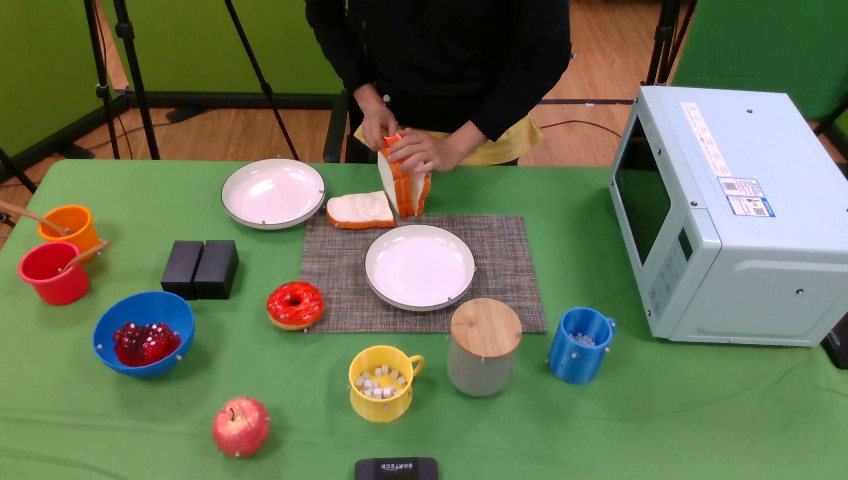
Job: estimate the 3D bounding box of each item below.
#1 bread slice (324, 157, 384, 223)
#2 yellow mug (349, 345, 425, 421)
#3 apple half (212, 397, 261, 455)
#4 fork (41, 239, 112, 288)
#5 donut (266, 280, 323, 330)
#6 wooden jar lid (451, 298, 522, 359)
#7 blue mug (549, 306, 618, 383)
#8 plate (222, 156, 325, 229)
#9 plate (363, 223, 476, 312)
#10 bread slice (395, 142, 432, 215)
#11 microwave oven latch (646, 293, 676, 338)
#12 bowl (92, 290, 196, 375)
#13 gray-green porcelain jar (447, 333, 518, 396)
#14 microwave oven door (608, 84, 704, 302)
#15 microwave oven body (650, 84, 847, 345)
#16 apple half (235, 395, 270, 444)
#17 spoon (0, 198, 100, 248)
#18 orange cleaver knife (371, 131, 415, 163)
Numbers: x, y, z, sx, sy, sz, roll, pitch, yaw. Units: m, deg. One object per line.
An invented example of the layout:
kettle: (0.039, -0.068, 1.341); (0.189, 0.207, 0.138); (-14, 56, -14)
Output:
bread slice: (-0.144, -0.096, 1.206); (0.134, 0.018, 0.106); (-33, 49, 20)
yellow mug: (-0.054, 0.217, 0.954); (0.131, 0.064, 0.099); (-24, 52, -25)
apple half: (-0.276, 0.276, 0.877); (0.053, 0.075, 0.080); (-29, 58, -21)
fork: (-0.591, 0.040, 1.028); (0.207, 0.019, 0.028); (-27, 36, 29)
donut: (-0.223, 0.113, 1.051); (0.099, 0.048, 0.098); (2, 45, -2)
wooden jar lid: (0.093, 0.135, 0.914); (0.108, 0.021, 0.107); (3, 48, -3)
blue mug: (0.269, 0.167, 0.997); (0.116, 0.106, 0.082); (-19, 50, -21)
plate: (-0.308, -0.095, 1.251); (0.209, 0.038, 0.208); (2, 46, -2)
plate: (-0.009, 0.054, 1.126); (0.208, 0.039, 0.206); (2, 46, -2)
bread slice: (-0.019, -0.131, 1.243); (0.019, 0.132, 0.104); (-7, 46, -30)
microwave oven latch: (0.412, 0.133, 1.060); (0.030, 0.029, 0.078); (3, 46, 0)
bowl: (-0.436, 0.161, 0.971); (0.151, 0.077, 0.150); (2, 46, -2)
gray-green porcelain jar: (0.091, 0.178, 0.960); (0.106, 0.127, 0.105); (2, 46, -2)
microwave oven door: (0.424, -0.096, 1.138); (0.039, 0.245, 0.353); (3, 46, -1)
microwave oven body: (0.569, -0.054, 1.116); (0.326, 0.261, 0.439); (2, 46, -1)
apple half: (-0.245, 0.260, 0.893); (0.033, 0.082, 0.081); (-29, 55, -22)
spoon: (-0.684, -0.035, 1.092); (0.021, 0.195, 0.041); (-34, 41, 26)
orange cleaver knife: (-0.067, -0.197, 1.272); (0.012, 0.077, 0.210); (-33, 22, -12)
